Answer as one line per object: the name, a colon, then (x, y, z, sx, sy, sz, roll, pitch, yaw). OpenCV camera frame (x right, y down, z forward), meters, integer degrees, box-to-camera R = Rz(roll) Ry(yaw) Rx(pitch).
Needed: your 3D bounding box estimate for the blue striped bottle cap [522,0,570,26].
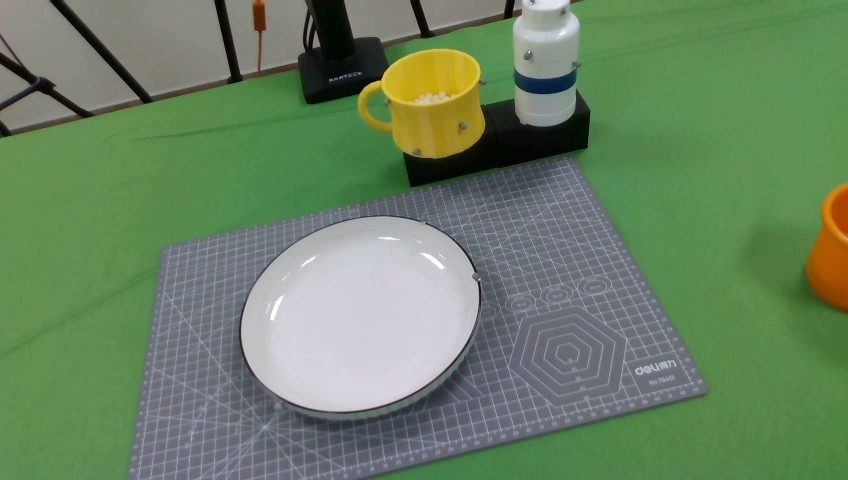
blue striped bottle cap: (0.112, -0.217, 0.558, 0.044, 0.021, 0.044, -7, 47, 8)

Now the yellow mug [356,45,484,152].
yellow mug: (-0.006, -0.144, 0.621, 0.130, 0.064, 0.099, -3, 47, 8)

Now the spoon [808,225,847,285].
spoon: (0.379, -0.036, 0.460, 0.194, 0.022, 0.041, -47, 41, 21)

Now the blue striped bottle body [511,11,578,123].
blue striped bottle body: (0.118, -0.182, 0.595, 0.063, 0.122, 0.062, -5, 47, 6)

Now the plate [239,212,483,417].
plate: (-0.052, 0.061, 0.524, 0.207, 0.039, 0.205, -5, 47, 5)
